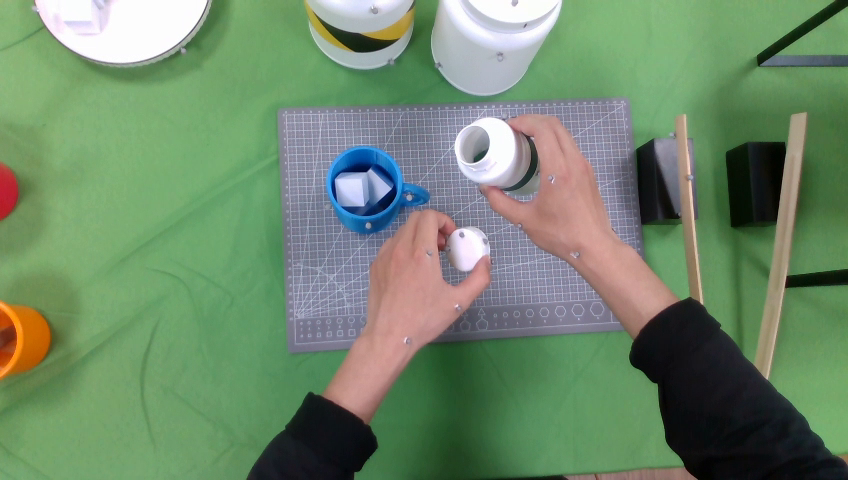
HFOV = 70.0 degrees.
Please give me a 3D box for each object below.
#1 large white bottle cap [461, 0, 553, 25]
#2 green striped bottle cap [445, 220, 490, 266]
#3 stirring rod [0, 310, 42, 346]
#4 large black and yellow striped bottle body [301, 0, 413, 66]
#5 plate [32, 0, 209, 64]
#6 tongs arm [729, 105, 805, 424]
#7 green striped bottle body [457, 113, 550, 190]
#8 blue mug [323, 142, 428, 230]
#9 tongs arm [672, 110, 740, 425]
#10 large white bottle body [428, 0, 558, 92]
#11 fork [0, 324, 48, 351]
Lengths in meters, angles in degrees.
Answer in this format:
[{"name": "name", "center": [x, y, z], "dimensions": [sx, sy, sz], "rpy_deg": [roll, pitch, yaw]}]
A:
[{"name": "large white bottle cap", "center": [0.083, -0.274, 0.609], "dimensions": [0.115, 0.018, 0.114], "rpy_deg": [1, 84, -6]}, {"name": "green striped bottle cap", "center": [0.043, 0.003, 0.596], "dimensions": [0.044, 0.020, 0.044], "rpy_deg": [8, 104, 37]}, {"name": "stirring rod", "center": [-0.478, 0.126, 0.627], "dimensions": [0.014, 0.006, 0.175], "rpy_deg": [44, 40, -3]}, {"name": "large black and yellow striped bottle body", "center": [-0.076, -0.291, 0.682], "dimensions": [0.131, 0.184, 0.130], "rpy_deg": [1, 83, -5]}, {"name": "plate", "center": [-0.360, -0.310, 0.732], "dimensions": [0.208, 0.039, 0.207], "rpy_deg": [1, 84, -5]}, {"name": "tongs arm", "center": [0.419, 0.033, 0.734], "dimensions": [0.028, 0.027, 0.388], "rpy_deg": [5, 95, -13]}, {"name": "green striped bottle body", "center": [0.076, -0.087, 0.597], "dimensions": [0.063, 0.120, 0.063], "rpy_deg": [-1, 87, 30]}, {"name": "blue mug", "center": [-0.053, -0.058, 0.697], "dimensions": [0.117, 0.106, 0.082], "rpy_deg": [4, 83, -5]}, {"name": "tongs arm", "center": [0.337, 0.037, 0.724], "dimensions": [0.051, 0.026, 0.385], "rpy_deg": [-8, 97, -8]}, {"name": "large white bottle body", "center": [0.077, -0.262, 0.692], "dimensions": [0.131, 0.185, 0.130], "rpy_deg": [1, 83, -5]}, {"name": "fork", "center": [-0.503, 0.089, 0.622], "dimensions": [0.209, 0.018, 0.028], "rpy_deg": [22, 78, -46]}]
